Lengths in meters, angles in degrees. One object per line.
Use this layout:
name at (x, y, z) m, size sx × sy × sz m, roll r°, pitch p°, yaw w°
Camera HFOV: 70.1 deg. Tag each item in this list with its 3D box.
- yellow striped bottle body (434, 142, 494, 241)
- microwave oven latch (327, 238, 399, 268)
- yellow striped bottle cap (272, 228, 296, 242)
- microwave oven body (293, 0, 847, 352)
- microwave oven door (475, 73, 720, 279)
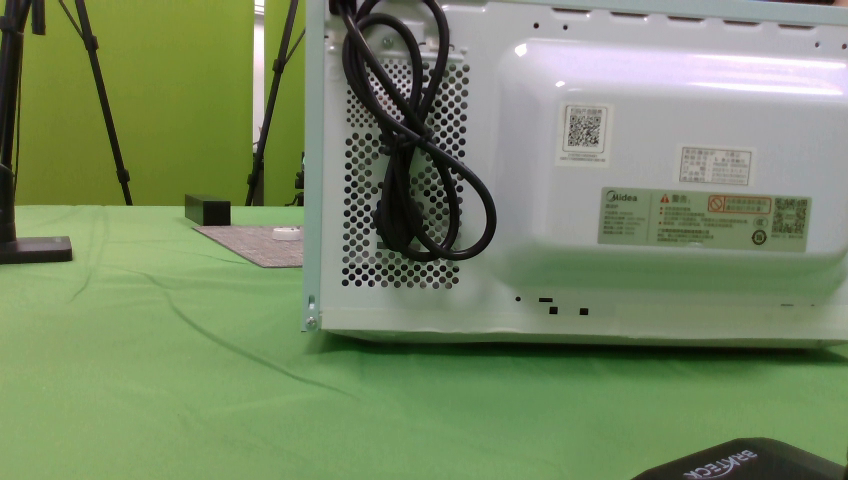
yellow striped bottle body at (0.052, -0.061, 0.761) m, size 0.063 × 0.120 × 0.063 m, roll 8°, pitch 3°, yaw 0°
microwave oven latch at (-0.069, 0.015, 0.694) m, size 0.079 × 0.029 × 0.030 m, roll 3°, pitch 7°, yaw -3°
yellow striped bottle cap at (-0.232, -0.008, 1.012) m, size 0.044 × 0.018 × 0.044 m, roll 4°, pitch 8°, yaw 0°
microwave oven body at (0.122, -0.055, 0.550) m, size 0.442 × 0.260 × 0.325 m, roll 3°, pitch 7°, yaw -5°
microwave oven door at (0.213, -0.093, 0.835) m, size 0.039 × 0.243 × 0.354 m, roll -6°, pitch 11°, yaw -42°
